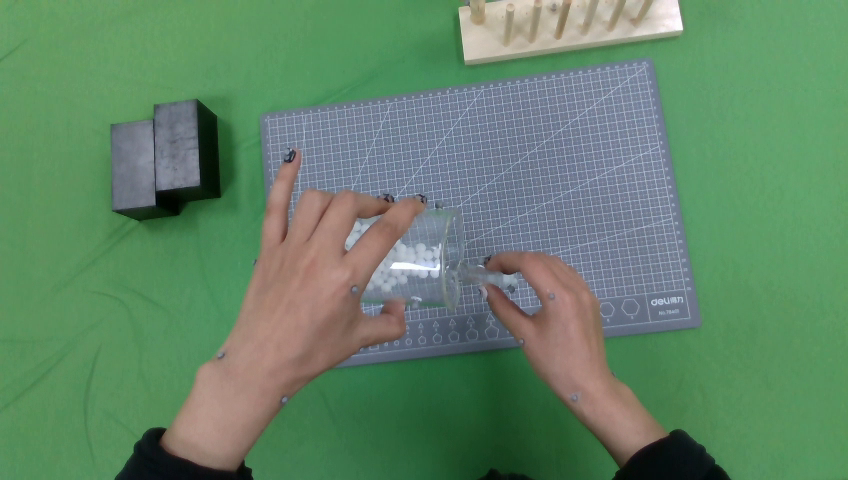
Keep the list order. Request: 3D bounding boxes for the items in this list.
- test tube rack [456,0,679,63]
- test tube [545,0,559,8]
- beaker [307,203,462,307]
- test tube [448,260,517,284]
[{"bbox_3d":[0.156,-0.257,0.653,0.242,0.085,0.066,-7,80,4],"label":"test tube rack"},{"bbox_3d":[0.139,-0.282,0.609,0.017,0.151,0.017,-1,77,3],"label":"test tube"},{"bbox_3d":[-0.027,0.011,0.445,0.100,0.084,0.073,2,74,13],"label":"beaker"},{"bbox_3d":[0.056,0.030,0.538,0.017,0.151,0.017,-2,84,24],"label":"test tube"}]
